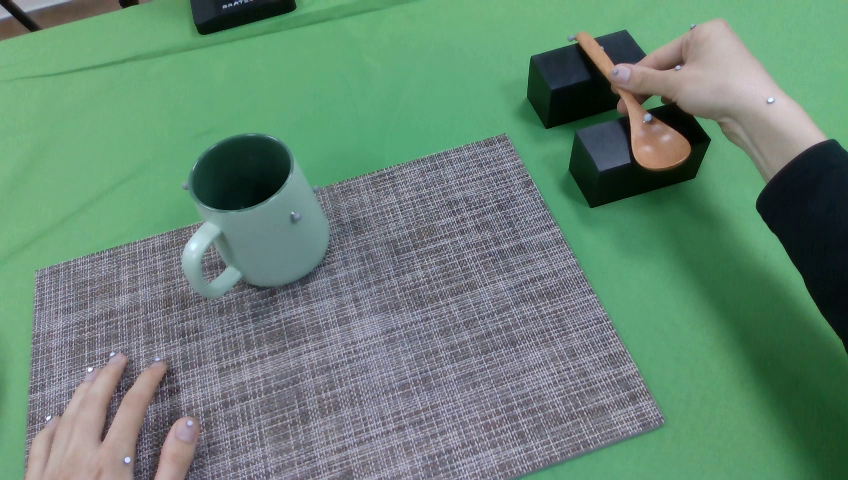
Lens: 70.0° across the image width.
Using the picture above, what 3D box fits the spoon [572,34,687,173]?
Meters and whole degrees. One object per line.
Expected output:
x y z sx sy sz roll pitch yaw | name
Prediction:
0.172 -0.127 0.529 0.041 0.022 0.191 -24 56 9 | spoon

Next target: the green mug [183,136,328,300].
-0.140 -0.008 0.484 0.092 0.106 0.125 24 61 19 | green mug
